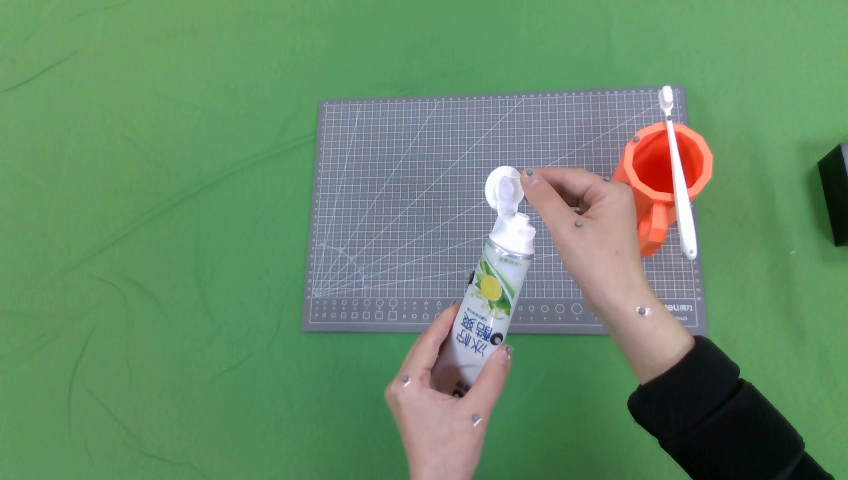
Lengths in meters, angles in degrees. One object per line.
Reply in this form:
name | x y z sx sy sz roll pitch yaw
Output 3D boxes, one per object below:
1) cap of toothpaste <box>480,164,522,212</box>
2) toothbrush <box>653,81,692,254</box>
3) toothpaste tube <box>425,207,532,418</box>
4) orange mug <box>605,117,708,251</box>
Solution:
cap of toothpaste | 0.057 -0.037 0.438 0.037 0.011 0.037 -3 97 -29
toothbrush | 0.246 -0.075 0.597 0.014 0.017 0.181 -3 75 3
toothpaste tube | 0.042 0.051 0.450 0.054 0.035 0.165 30 113 34
orange mug | 0.243 -0.055 0.647 0.083 0.101 0.125 8 71 9
